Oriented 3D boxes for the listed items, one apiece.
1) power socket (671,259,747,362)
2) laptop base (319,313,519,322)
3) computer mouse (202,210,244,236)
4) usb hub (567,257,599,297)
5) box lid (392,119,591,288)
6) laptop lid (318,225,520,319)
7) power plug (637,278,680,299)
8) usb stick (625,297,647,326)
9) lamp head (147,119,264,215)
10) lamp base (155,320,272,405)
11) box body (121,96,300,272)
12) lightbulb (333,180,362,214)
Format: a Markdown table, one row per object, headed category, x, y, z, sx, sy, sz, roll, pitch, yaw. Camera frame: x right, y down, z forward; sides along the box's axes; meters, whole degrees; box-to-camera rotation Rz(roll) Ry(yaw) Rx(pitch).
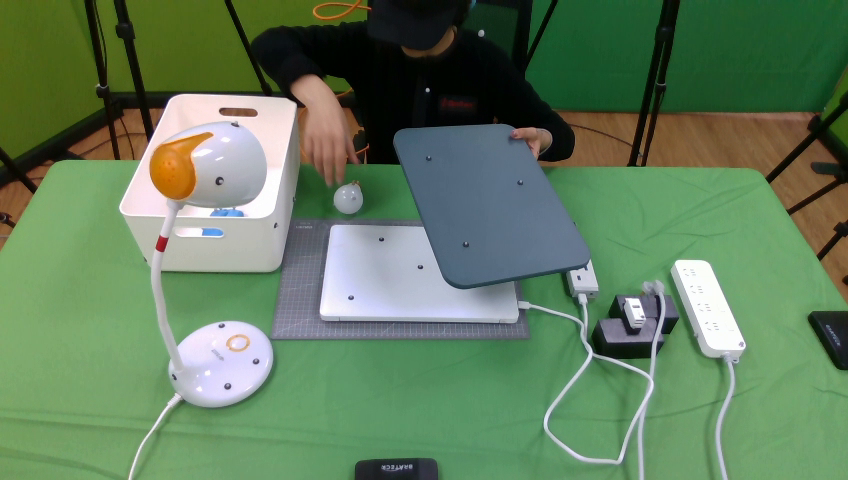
| category | x | y | z | sx | sy | sz | roll | pitch | yaw |
| --- | --- | --- | --- | --- | --- | --- | --- | --- | --- |
| power socket | 0.516 | 0.119 | 1.108 | 0.072 | 0.033 | 0.225 | 1 | 46 | -2 |
| laptop base | -0.009 | 0.063 | 1.137 | 0.354 | 0.023 | 0.234 | 1 | 42 | -3 |
| computer mouse | -0.389 | -0.022 | 1.171 | 0.063 | 0.041 | 0.116 | -1 | 41 | -2 |
| usb hub | 0.299 | 0.055 | 1.162 | 0.049 | 0.025 | 0.124 | 2 | 46 | -3 |
| box lid | 0.109 | -0.079 | 1.063 | 0.264 | 0.015 | 0.369 | -9 | 53 | -16 |
| laptop lid | -0.009 | 0.053 | 1.131 | 0.357 | 0.013 | 0.240 | 2 | 43 | -2 |
| power plug | 0.434 | 0.099 | 1.120 | 0.073 | 0.053 | 0.035 | 33 | 39 | -18 |
| usb stick | 0.360 | 0.116 | 1.034 | 0.021 | 0.027 | 0.059 | -2 | 44 | -2 |
| lamp head | -0.276 | -0.087 | 0.740 | 0.112 | 0.112 | 0.123 | 20 | 23 | 15 |
| lamp base | -0.330 | 0.149 | 0.918 | 0.160 | 0.181 | 0.179 | 26 | 52 | 20 |
| box body | -0.387 | -0.112 | 1.182 | 0.254 | 0.161 | 0.361 | 1 | 46 | -3 |
| lightbulb | -0.154 | -0.095 | 1.261 | 0.059 | 0.060 | 0.107 | 8 | 30 | 4 |
